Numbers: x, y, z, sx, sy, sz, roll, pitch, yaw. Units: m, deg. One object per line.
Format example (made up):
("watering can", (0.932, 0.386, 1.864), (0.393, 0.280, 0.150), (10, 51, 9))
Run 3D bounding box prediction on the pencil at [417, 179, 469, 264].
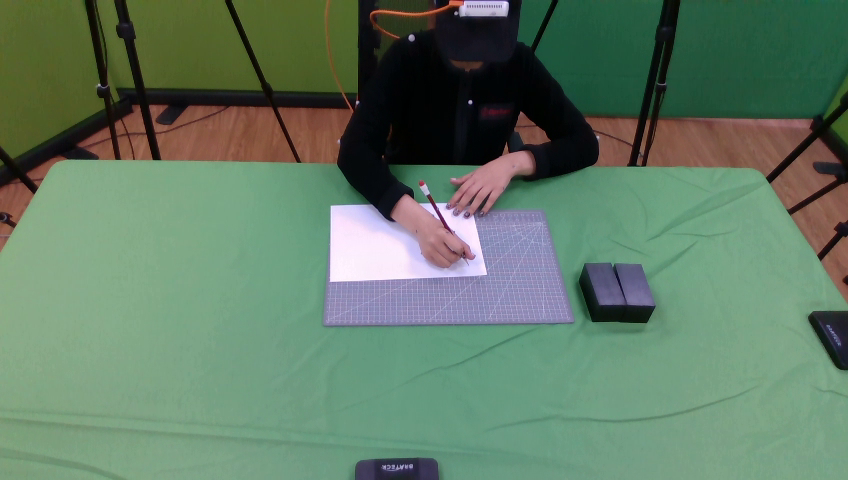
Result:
("pencil", (0.038, -0.032, 1.135), (0.012, 0.195, 0.012), (-27, 21, 12))
